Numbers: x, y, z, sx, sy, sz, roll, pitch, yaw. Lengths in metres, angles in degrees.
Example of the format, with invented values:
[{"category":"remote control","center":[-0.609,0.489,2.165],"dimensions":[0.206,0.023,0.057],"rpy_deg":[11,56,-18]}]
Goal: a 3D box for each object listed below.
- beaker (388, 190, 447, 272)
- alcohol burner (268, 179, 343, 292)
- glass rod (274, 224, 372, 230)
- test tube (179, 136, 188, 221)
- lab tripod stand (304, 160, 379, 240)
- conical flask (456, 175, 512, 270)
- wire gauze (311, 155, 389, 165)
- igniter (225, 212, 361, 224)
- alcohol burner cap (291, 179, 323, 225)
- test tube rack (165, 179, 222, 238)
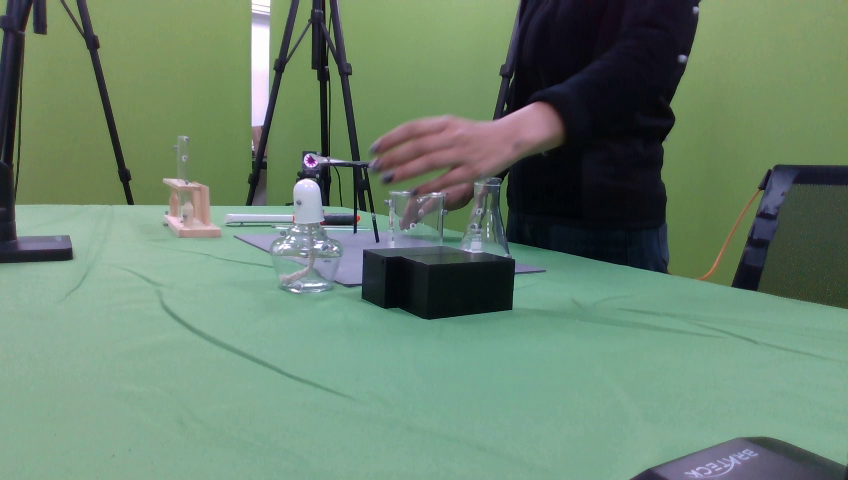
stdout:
[{"category":"beaker","center":[-0.010,-0.013,0.771],"dimensions":[0.074,0.100,0.084],"rpy_deg":[3,6,4]},{"category":"alcohol burner","center":[-0.124,-0.005,0.637],"dimensions":[0.078,0.119,0.078],"rpy_deg":[4,8,0]},{"category":"glass rod","center":[-0.193,-0.024,1.176],"dimensions":[0.201,0.008,0.008],"rpy_deg":[1,6,-31]},{"category":"test tube","center":[-0.425,-0.108,1.070],"dimensions":[0.017,0.150,0.017],"rpy_deg":[4,9,0]},{"category":"lab tripod stand","center":[-0.131,-0.071,1.046],"dimensions":[0.148,0.131,0.148],"rpy_deg":[4,7,0]},{"category":"conical flask","center":[0.082,-0.025,0.801],"dimensions":[0.075,0.122,0.075],"rpy_deg":[2,7,0]},{"category":"wire gauze","center":[-0.128,-0.137,1.042],"dimensions":[0.122,0.011,0.124],"rpy_deg":[1,8,-18]},{"category":"igniter","center":[-0.262,-0.044,1.240],"dimensions":[0.278,0.025,0.057],"rpy_deg":[-2,-1,-30]},{"category":"alcohol burner cap","center":[-0.124,-0.040,0.632],"dimensions":[0.034,0.048,0.034],"rpy_deg":[-3,10,1]},{"category":"test tube rack","center":[-0.423,-0.062,1.098],"dimensions":[0.067,0.085,0.241],"rpy_deg":[-2,9,-28]}]
